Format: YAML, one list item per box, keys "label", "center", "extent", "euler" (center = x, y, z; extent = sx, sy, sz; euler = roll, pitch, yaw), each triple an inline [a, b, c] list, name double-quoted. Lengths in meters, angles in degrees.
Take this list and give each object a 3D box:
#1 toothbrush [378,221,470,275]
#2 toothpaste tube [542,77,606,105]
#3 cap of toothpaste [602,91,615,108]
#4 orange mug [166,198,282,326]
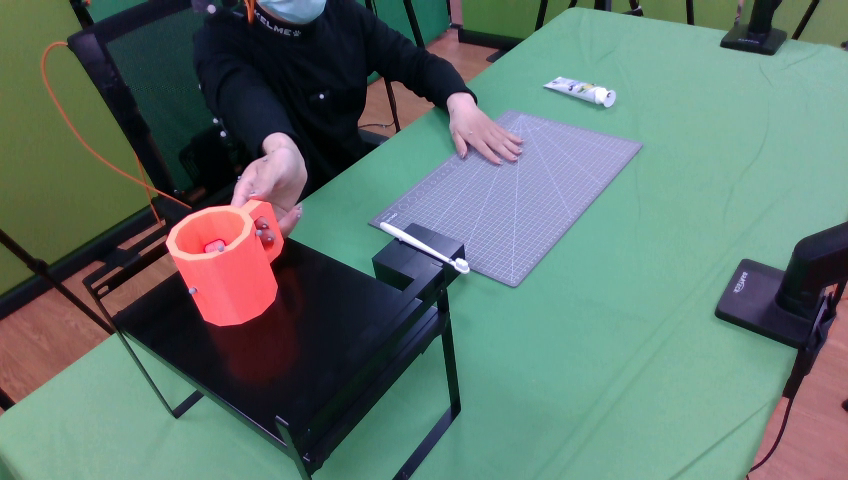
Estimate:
- label: "toothbrush"
  center: [-0.004, 0.008, 0.894]
  extent: [0.180, 0.017, 0.014]
  euler: [27, 55, 34]
- label: "toothpaste tube"
  center: [0.333, -0.324, 1.300]
  extent: [0.055, 0.034, 0.163]
  euler: [-27, 40, -28]
- label: "cap of toothpaste"
  center: [0.378, -0.291, 1.246]
  extent: [0.037, 0.037, 0.011]
  euler: [-31, 42, -25]
- label: "orange mug"
  center: [-0.202, 0.015, 0.648]
  extent: [0.083, 0.101, 0.126]
  euler: [15, 49, 24]
